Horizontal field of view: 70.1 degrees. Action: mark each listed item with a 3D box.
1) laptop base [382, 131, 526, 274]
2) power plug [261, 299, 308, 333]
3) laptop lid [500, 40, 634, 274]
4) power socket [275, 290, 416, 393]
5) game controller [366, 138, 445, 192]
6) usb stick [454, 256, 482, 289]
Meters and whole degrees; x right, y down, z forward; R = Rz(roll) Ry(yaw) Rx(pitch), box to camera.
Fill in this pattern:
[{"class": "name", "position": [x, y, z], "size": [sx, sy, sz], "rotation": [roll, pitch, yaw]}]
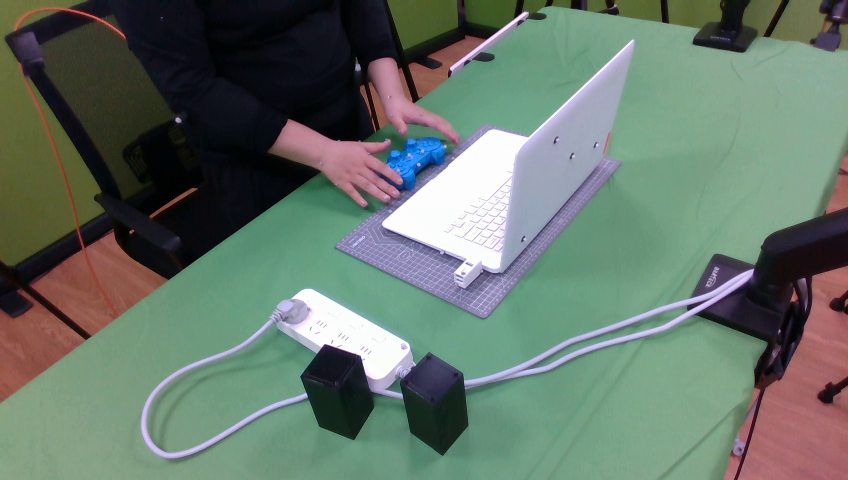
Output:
[{"class": "laptop base", "position": [0.123, -0.081, 1.049], "size": [0.233, 0.023, 0.355], "rotation": [20, 47, 33]}, {"class": "power plug", "position": [-0.193, 0.110, 0.830], "size": [0.073, 0.053, 0.035], "rotation": [-36, 48, -23]}, {"class": "laptop lid", "position": [0.218, -0.128, 0.906], "size": [0.013, 0.242, 0.358], "rotation": [28, 50, 25]}, {"class": "power socket", "position": [-0.114, 0.132, 0.821], "size": [0.225, 0.033, 0.072], "rotation": [24, 48, 32]}, {"class": "game controller", "position": [-0.030, -0.147, 1.128], "size": [0.096, 0.052, 0.155], "rotation": [24, 50, 30]}, {"class": "usb stick", "position": [0.069, 0.044, 0.891], "size": [0.021, 0.027, 0.059], "rotation": [22, 44, 32]}]
